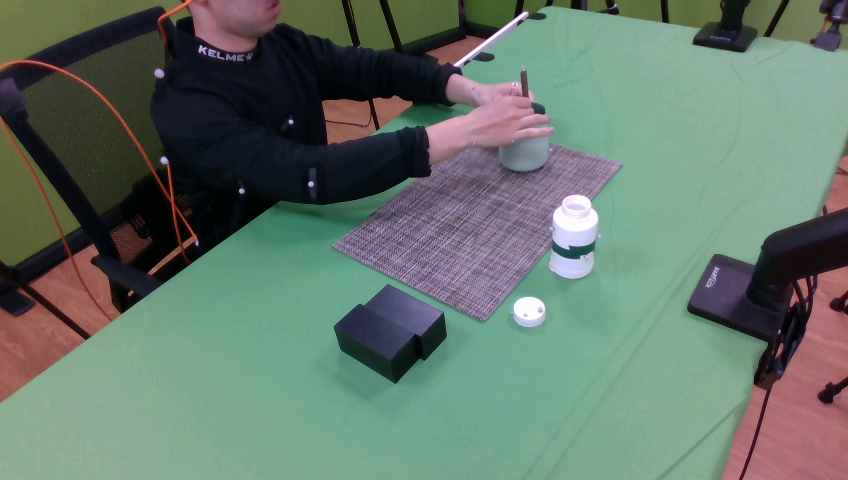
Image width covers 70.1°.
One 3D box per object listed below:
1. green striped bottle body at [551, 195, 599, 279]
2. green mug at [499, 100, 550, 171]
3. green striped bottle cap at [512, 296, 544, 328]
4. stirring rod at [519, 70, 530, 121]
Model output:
[{"bbox_3d":[0.217,-0.006,0.870,0.063,0.120,0.063,-4,41,4],"label":"green striped bottle body"},{"bbox_3d":[0.183,-0.197,1.101,0.092,0.105,0.125,1,41,9],"label":"green mug"},{"bbox_3d":[0.144,0.099,0.837,0.044,0.020,0.044,-1,43,2],"label":"green striped bottle cap"},{"bbox_3d":[0.179,-0.210,1.051,0.005,0.177,0.014,16,44,36],"label":"stirring rod"}]
